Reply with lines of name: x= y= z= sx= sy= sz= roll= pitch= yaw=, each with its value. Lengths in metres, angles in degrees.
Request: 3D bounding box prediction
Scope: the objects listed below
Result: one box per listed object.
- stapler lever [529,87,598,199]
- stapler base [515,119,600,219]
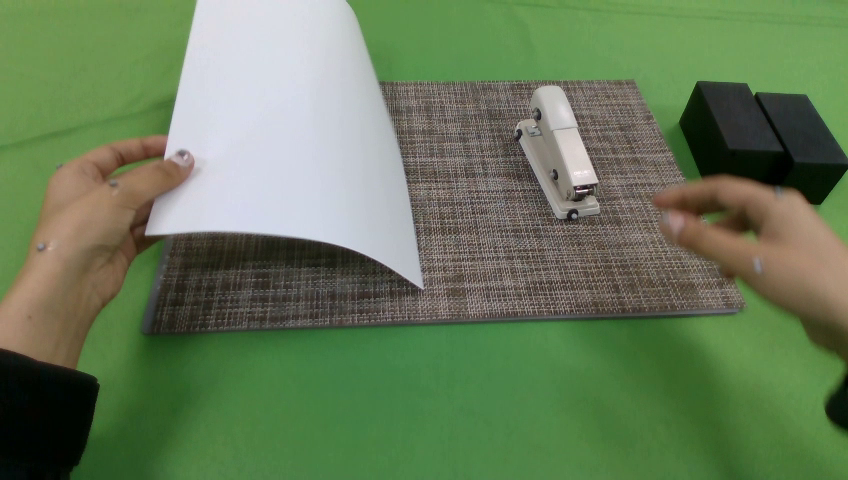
stapler lever: x=0.123 y=-0.090 z=0.539 sx=0.027 sy=0.040 sz=0.117 roll=-10 pitch=53 yaw=-8
stapler base: x=0.122 y=-0.075 z=0.560 sx=0.041 sy=0.024 sz=0.129 roll=-10 pitch=53 yaw=-8
